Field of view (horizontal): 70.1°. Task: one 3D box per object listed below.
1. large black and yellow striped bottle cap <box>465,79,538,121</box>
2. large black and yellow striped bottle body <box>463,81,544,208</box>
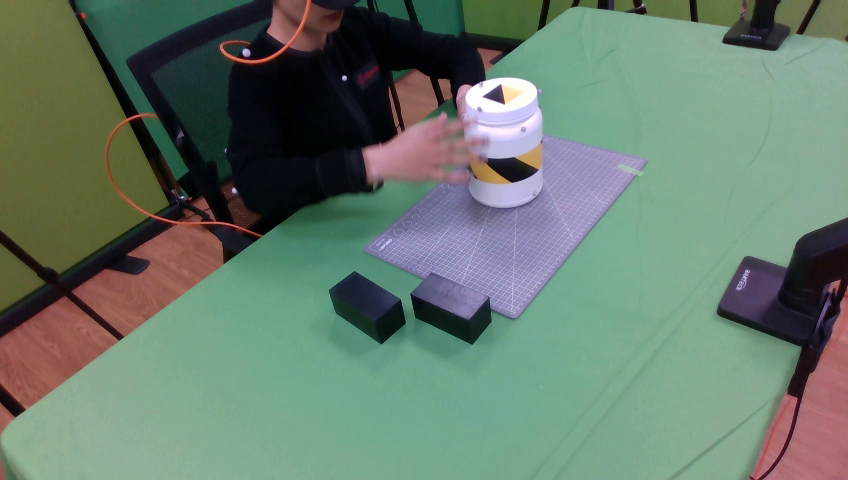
[{"bbox_3d":[0.123,-0.225,0.964,0.115,0.019,0.114,-4,40,4],"label":"large black and yellow striped bottle cap"},{"bbox_3d":[0.134,-0.161,1.016,0.131,0.185,0.130,-6,40,5],"label":"large black and yellow striped bottle body"}]
